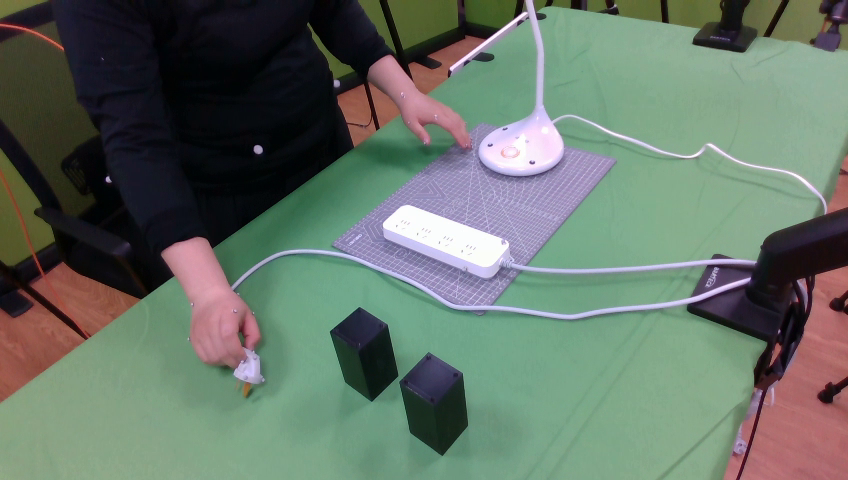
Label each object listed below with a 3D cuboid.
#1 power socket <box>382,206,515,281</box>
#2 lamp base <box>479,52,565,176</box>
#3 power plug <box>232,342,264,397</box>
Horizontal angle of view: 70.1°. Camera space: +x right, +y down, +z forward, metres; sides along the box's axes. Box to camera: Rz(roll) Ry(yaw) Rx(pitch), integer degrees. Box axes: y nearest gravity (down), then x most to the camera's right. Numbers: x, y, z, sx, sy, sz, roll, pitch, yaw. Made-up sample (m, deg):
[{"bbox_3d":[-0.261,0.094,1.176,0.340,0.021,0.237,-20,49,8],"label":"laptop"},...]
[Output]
[{"bbox_3d":[0.032,0.002,0.950,0.225,0.033,0.072,21,49,29],"label":"power socket"},{"bbox_3d":[0.181,-0.235,1.093,0.159,0.181,0.179,18,44,27],"label":"lamp base"},{"bbox_3d":[-0.233,0.169,0.789,0.072,0.035,0.052,18,84,55],"label":"power plug"}]
